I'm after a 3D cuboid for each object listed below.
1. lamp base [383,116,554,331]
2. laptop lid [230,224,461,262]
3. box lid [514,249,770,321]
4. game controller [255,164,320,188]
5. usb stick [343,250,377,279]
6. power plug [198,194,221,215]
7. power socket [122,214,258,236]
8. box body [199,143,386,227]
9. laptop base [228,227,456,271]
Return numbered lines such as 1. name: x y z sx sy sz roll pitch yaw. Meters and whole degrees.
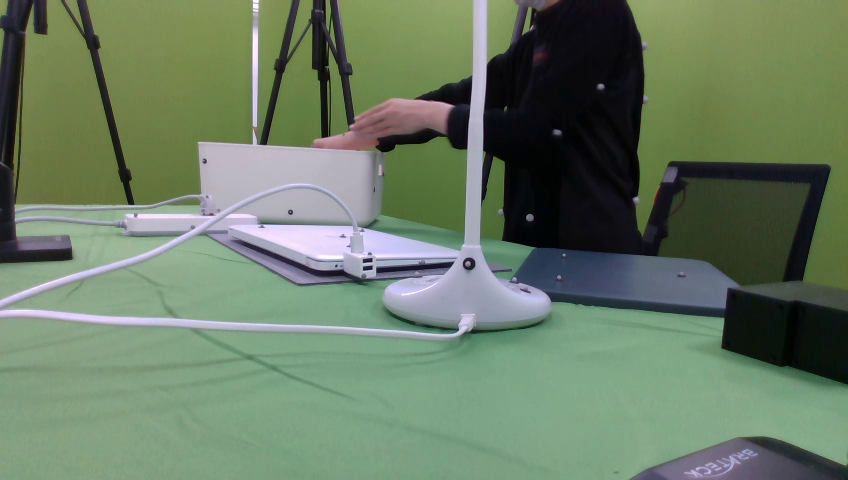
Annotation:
1. lamp base: 0.045 -0.019 0.547 0.161 0.180 0.179 2 10 -4
2. laptop lid: -0.120 0.000 0.889 0.243 0.013 0.355 1 7 -33
3. box lid: 0.259 0.048 0.781 0.263 0.015 0.372 4 7 14
4. game controller: -0.298 -0.139 1.319 0.097 0.051 0.155 0 6 15
5. usb stick: -0.076 0.026 0.687 0.021 0.027 0.059 -8 9 -31
6. power plug: -0.387 -0.055 1.089 0.035 0.052 0.072 -1 7 -22
7. power socket: -0.398 -0.028 1.049 0.228 0.032 0.072 -3 8 -34
8. box body: -0.277 -0.124 1.334 0.364 0.160 0.254 3 7 1
9. laptop base: -0.122 0.011 0.889 0.237 0.023 0.352 2 6 -35
